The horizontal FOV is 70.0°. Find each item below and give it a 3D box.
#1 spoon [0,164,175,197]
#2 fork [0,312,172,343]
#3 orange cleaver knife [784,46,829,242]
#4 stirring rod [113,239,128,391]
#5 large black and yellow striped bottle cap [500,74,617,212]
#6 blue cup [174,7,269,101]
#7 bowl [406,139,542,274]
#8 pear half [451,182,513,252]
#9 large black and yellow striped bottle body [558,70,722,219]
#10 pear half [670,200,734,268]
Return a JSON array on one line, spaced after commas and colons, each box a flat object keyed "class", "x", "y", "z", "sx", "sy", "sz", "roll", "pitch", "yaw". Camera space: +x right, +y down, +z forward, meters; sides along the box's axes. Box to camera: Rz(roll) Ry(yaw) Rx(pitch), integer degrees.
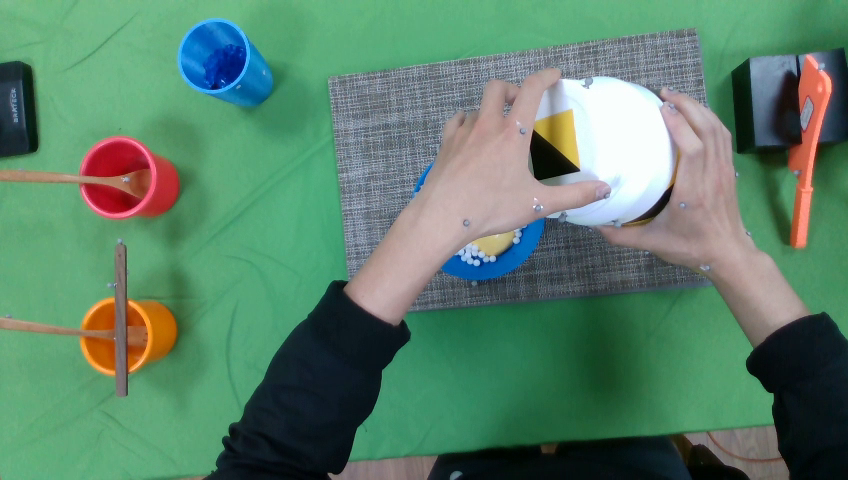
[{"class": "spoon", "x": -0.398, "y": -0.076, "z": 0.712, "sx": 0.195, "sy": 0.021, "sz": 0.041, "roll": 1, "pitch": 90, "yaw": -38}, {"class": "fork", "x": -0.402, "y": 0.100, "z": 0.705, "sx": 0.209, "sy": 0.018, "sz": 0.028, "roll": 14, "pitch": 99, "yaw": -38}, {"class": "orange cleaver knife", "x": 0.416, "y": -0.102, "z": 0.671, "sx": 0.012, "sy": 0.076, "sz": 0.213, "roll": -4, "pitch": 117, "yaw": 10}, {"class": "stirring rod", "x": -0.351, "y": 0.087, "z": 0.699, "sx": 0.014, "sy": 0.006, "sz": 0.176, "roll": -1, "pitch": 89, "yaw": 2}, {"class": "large black and yellow striped bottle cap", "x": 0.109, "y": -0.081, "z": 0.509, "sx": 0.019, "sy": 0.114, "sz": 0.115, "roll": -7, "pitch": 87, "yaw": -37}, {"class": "blue cup", "x": -0.231, "y": -0.208, "z": 0.721, "sx": 0.092, "sy": 0.100, "sz": 0.092, "roll": 0, "pitch": 89, "yaw": 7}, {"class": "bowl", "x": 0.058, "y": -0.036, "z": 0.700, "sx": 0.151, "sy": 0.077, "sz": 0.151, "roll": 0, "pitch": 89, "yaw": 5}, {"class": "pear half", "x": 0.063, "y": -0.030, "z": 0.693, "sx": 0.070, "sy": 0.031, "sz": 0.087, "roll": -32, "pitch": 82, "yaw": 2}, {"class": "large black and yellow striped bottle body", "x": 0.178, "y": -0.085, "z": 0.567, "sx": 0.130, "sy": 0.185, "sz": 0.131, "roll": 4, "pitch": 95, "yaw": 49}, {"class": "pear half", "x": 0.305, "y": -0.003, "z": 0.662, "sx": 0.056, "sy": 0.110, "sz": 0.076, "roll": -26, "pitch": 82, "yaw": 5}]
